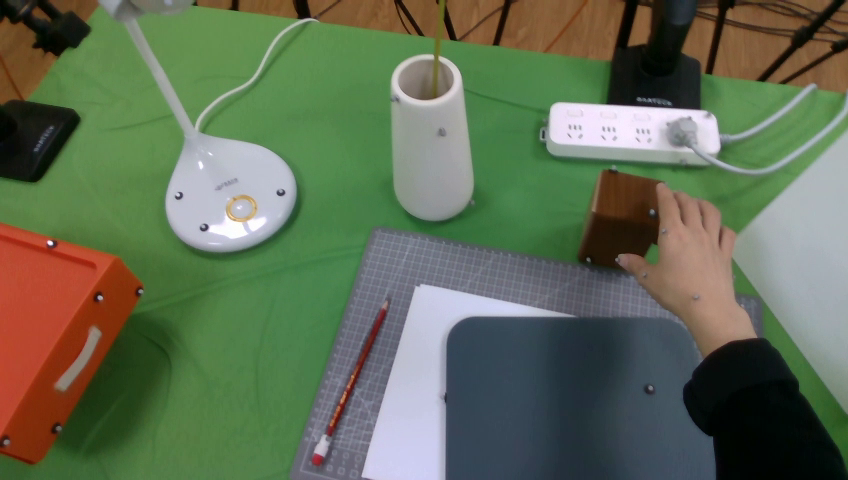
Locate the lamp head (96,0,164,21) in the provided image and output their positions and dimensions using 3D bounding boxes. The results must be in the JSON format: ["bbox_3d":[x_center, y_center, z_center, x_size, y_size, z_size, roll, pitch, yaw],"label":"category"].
[{"bbox_3d":[-0.224,-0.239,0.438,0.112,0.112,0.123,-47,106,-21],"label":"lamp head"}]

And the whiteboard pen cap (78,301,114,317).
[{"bbox_3d":[-0.341,0.072,0.629,0.033,0.018,0.018,-1,59,11],"label":"whiteboard pen cap"}]

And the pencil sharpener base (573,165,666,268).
[{"bbox_3d":[0.215,-0.023,0.670,0.076,0.108,0.061,13,61,10],"label":"pencil sharpener base"}]

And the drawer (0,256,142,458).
[{"bbox_3d":[-0.429,0.086,0.600,0.211,0.074,0.193,14,62,11],"label":"drawer"}]

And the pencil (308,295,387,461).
[{"bbox_3d":[-0.076,0.140,0.643,0.012,0.012,0.193,17,60,13],"label":"pencil"}]

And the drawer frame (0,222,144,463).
[{"bbox_3d":[-0.435,0.087,0.602,0.213,0.083,0.200,15,62,9],"label":"drawer frame"}]

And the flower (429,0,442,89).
[{"bbox_3d":[0.009,-0.165,0.614,0.038,0.365,0.043,0,41,-5],"label":"flower"}]

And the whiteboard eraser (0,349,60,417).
[{"bbox_3d":[-0.416,0.136,0.590,0.112,0.042,0.055,6,53,14],"label":"whiteboard eraser"}]

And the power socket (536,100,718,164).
[{"bbox_3d":[0.260,-0.139,0.779,0.226,0.033,0.071,5,61,5],"label":"power socket"}]

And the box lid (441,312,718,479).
[{"bbox_3d":[0.148,0.237,0.576,0.263,0.015,0.368,0,61,2],"label":"box lid"}]

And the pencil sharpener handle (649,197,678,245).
[{"bbox_3d":[0.263,-0.018,0.652,0.030,0.068,0.036,13,59,10],"label":"pencil sharpener handle"}]

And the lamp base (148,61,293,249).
[{"bbox_3d":[-0.257,-0.105,0.697,0.160,0.182,0.177,-39,62,-19],"label":"lamp base"}]

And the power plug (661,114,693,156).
[{"bbox_3d":[0.306,-0.122,0.740,0.035,0.053,0.072,14,63,11],"label":"power plug"}]

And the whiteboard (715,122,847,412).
[{"bbox_3d":[0.481,-0.009,0.571,0.144,0.307,0.215,-9,57,-24],"label":"whiteboard"}]

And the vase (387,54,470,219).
[{"bbox_3d":[0.003,-0.109,0.678,0.098,0.202,0.097,-2,59,3],"label":"vase"}]

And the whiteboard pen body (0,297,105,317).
[{"bbox_3d":[-0.402,0.070,0.632,0.141,0.017,0.017,3,59,2],"label":"whiteboard pen body"}]
